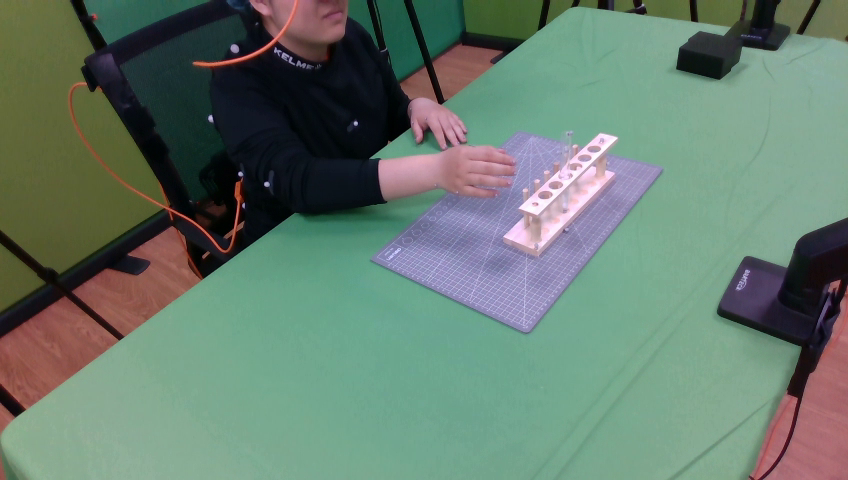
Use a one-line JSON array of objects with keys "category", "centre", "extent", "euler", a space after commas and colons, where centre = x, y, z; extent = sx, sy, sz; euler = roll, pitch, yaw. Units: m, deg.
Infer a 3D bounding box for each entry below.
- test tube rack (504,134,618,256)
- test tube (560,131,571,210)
[{"category": "test tube rack", "centre": [0.225, -0.083, 0.985], "extent": [0.066, 0.085, 0.243], "euler": [25, 50, 34]}, {"category": "test tube", "centre": [0.219, -0.103, 0.933], "extent": [0.017, 0.151, 0.017], "euler": [-6, 45, 7]}]
